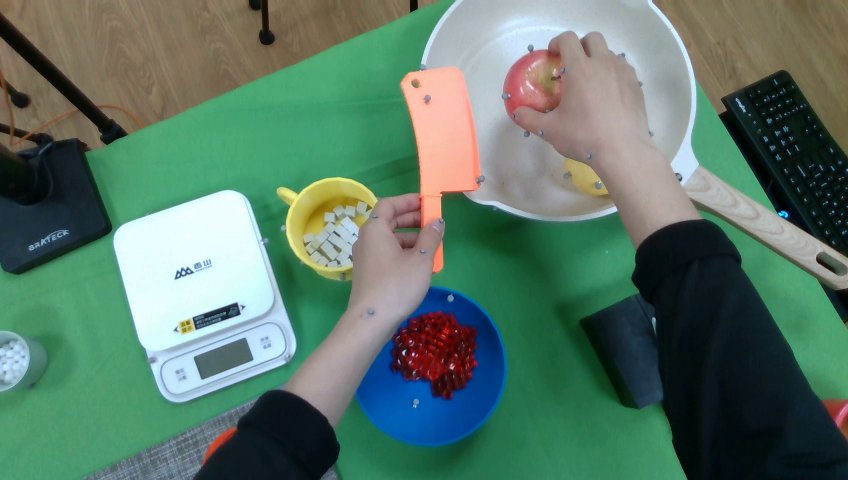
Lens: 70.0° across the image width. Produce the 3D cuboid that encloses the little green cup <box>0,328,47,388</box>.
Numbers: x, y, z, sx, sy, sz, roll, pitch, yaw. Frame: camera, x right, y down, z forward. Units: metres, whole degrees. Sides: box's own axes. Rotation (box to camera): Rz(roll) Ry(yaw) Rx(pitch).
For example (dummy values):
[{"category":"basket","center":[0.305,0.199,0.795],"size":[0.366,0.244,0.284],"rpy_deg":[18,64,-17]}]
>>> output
[{"category":"little green cup","center":[-0.429,0.124,0.630],"size":[0.061,0.039,0.061],"rpy_deg":[0,78,0]}]

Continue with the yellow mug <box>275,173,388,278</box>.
[{"category":"yellow mug","center":[-0.104,-0.021,0.643],"size":[0.130,0.064,0.100],"rpy_deg":[32,81,7]}]

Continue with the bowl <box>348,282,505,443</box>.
[{"category":"bowl","center":[0.003,0.122,0.609],"size":[0.151,0.077,0.150],"rpy_deg":[0,79,0]}]

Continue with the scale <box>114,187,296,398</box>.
[{"category":"scale","center":[-0.234,0.053,0.646],"size":[0.149,0.031,0.200],"rpy_deg":[-20,80,-3]}]

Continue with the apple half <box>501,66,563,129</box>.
[{"category":"apple half","center":[0.101,-0.134,0.612],"size":[0.081,0.081,0.033],"rpy_deg":[44,84,9]}]

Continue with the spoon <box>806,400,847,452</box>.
[{"category":"spoon","center":[0.439,0.220,0.554],"size":[0.041,0.022,0.191],"rpy_deg":[-29,36,-6]}]

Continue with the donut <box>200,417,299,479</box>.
[{"category":"donut","center":[-0.173,0.226,0.601],"size":[0.099,0.048,0.098],"rpy_deg":[0,80,2]}]

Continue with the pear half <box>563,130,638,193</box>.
[{"category":"pear half","center":[0.184,-0.082,0.628],"size":[0.076,0.110,0.056],"rpy_deg":[11,79,7]}]

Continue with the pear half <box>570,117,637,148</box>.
[{"category":"pear half","center":[0.194,-0.115,0.645],"size":[0.070,0.088,0.031],"rpy_deg":[13,82,6]}]

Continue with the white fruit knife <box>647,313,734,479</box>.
[{"category":"white fruit knife","center":[0.264,0.165,0.599],"size":[0.016,0.027,0.207],"rpy_deg":[-26,94,-4]}]

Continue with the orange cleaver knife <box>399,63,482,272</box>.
[{"category":"orange cleaver knife","center":[0.018,-0.074,0.577],"size":[0.077,0.012,0.210],"rpy_deg":[0,77,-19]}]

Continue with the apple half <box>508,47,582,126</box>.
[{"category":"apple half","center":[0.128,-0.161,0.616],"size":[0.080,0.075,0.053],"rpy_deg":[44,83,7]}]

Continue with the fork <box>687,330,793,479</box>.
[{"category":"fork","center":[0.324,0.180,0.603],"size":[0.028,0.018,0.208],"rpy_deg":[-34,96,-9]}]

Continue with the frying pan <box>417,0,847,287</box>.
[{"category":"frying pan","center":[0.218,-0.098,0.639],"size":[0.485,0.103,0.306],"rpy_deg":[37,82,15]}]
